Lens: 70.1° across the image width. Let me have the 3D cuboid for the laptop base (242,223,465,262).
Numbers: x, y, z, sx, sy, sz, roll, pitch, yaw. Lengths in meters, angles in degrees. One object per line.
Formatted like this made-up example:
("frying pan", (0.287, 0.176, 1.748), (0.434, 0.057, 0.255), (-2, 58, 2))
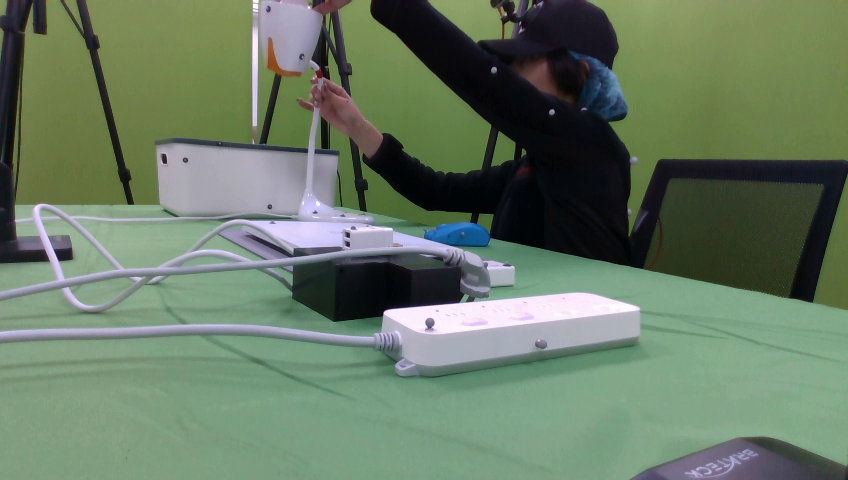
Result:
("laptop base", (-0.126, 0.003, 0.946), (0.237, 0.023, 0.352), (2, 6, -31))

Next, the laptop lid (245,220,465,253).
("laptop lid", (-0.124, -0.009, 0.945), (0.243, 0.013, 0.355), (1, 7, -29))

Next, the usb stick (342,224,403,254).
("usb stick", (-0.047, -0.001, 0.567), (0.059, 0.027, 0.021), (0, 5, -33))

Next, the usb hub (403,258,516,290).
("usb hub", (0.042, 0.038, 0.690), (0.126, 0.025, 0.049), (-2, 10, -30))

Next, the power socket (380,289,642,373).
("power socket", (0.072, 0.064, 0.461), (0.228, 0.032, 0.072), (-2, 8, -30))

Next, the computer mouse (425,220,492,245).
("computer mouse", (0.060, -0.013, 1.060), (0.117, 0.041, 0.062), (-2, 9, -6))

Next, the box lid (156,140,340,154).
("box lid", (-0.409, -0.213, 1.404), (0.373, 0.015, 0.262), (-2, 8, -32))

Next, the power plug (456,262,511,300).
("power plug", (0.052, 0.051, 0.543), (0.035, 0.052, 0.072), (6, 38, -20))

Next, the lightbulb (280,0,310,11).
("lightbulb", (-0.239, -0.383, 1.093), (0.059, 0.107, 0.059), (15, 16, -4))

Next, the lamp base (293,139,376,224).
("lamp base", (-0.191, -0.121, 1.257), (0.179, 0.180, 0.161), (0, 6, 7))

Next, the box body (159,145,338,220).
("box body", (-0.410, -0.139, 1.414), (0.366, 0.160, 0.253), (-2, 8, -33))

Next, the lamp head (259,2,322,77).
("lamp head", (-0.246, -0.361, 1.107), (0.112, 0.123, 0.112), (7, 15, -2))
